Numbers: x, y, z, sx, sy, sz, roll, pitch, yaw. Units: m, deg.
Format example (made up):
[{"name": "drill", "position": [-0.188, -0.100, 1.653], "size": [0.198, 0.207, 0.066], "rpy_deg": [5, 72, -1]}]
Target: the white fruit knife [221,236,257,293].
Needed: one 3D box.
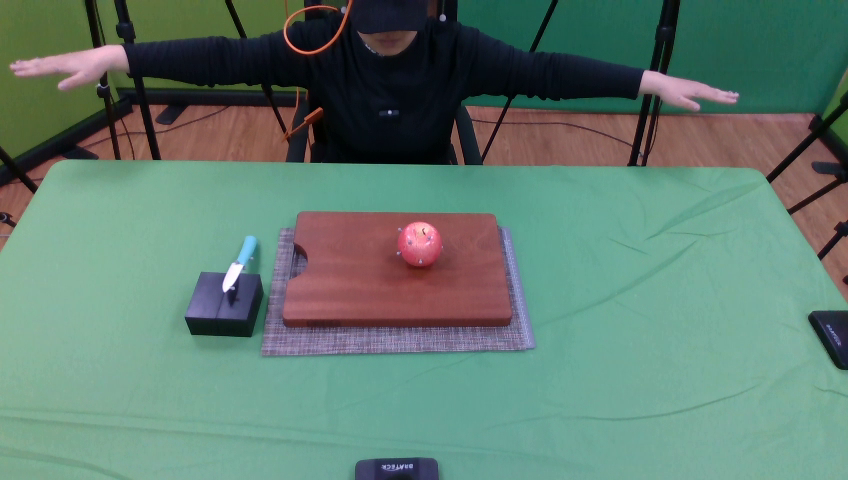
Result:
[{"name": "white fruit knife", "position": [-0.333, 0.043, 1.094], "size": [0.027, 0.016, 0.206], "rpy_deg": [2, 27, -3]}]

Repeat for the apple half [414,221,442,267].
[{"name": "apple half", "position": [0.006, 0.009, 1.115], "size": [0.053, 0.075, 0.080], "rpy_deg": [0, 42, -10]}]

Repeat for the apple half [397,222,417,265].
[{"name": "apple half", "position": [-0.033, 0.010, 1.110], "size": [0.033, 0.081, 0.081], "rpy_deg": [-1, 46, -10]}]
